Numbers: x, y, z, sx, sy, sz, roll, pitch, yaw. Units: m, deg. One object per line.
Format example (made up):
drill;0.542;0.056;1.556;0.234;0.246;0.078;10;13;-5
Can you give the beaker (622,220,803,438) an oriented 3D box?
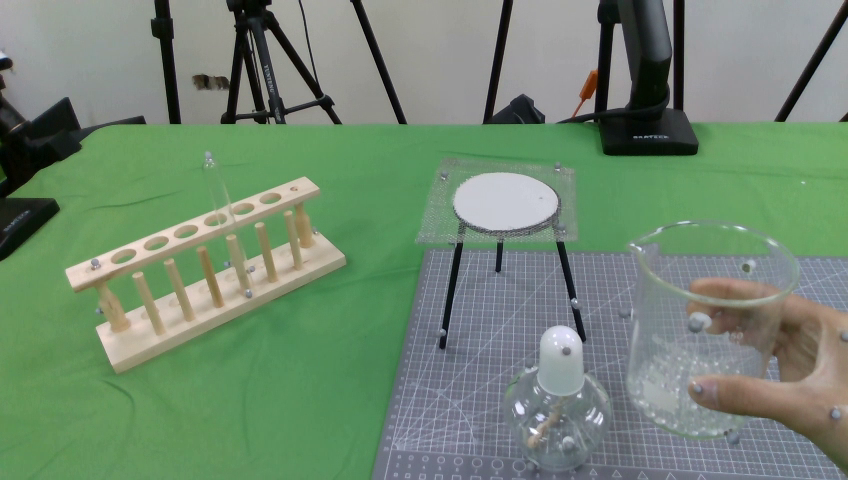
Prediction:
beaker;0.146;0.049;0.329;0.083;0.101;0.074;19;39;33

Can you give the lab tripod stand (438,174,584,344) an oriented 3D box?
lab tripod stand;0.075;0.020;0.535;0.148;0.132;0.147;-2;36;2

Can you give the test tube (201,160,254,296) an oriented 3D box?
test tube;-0.185;-0.008;0.573;0.017;0.151;0.017;-2;36;2

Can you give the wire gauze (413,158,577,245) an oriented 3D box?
wire gauze;0.062;-0.033;0.495;0.121;0.011;0.124;4;38;10

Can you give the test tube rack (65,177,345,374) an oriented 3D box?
test tube rack;-0.205;0.027;0.604;0.242;0.086;0.066;-26;41;-26

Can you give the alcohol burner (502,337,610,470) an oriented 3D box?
alcohol burner;0.094;0.108;0.430;0.078;0.120;0.077;-3;38;3

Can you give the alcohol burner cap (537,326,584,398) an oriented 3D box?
alcohol burner cap;0.092;0.079;0.408;0.034;0.048;0.033;-5;35;4
